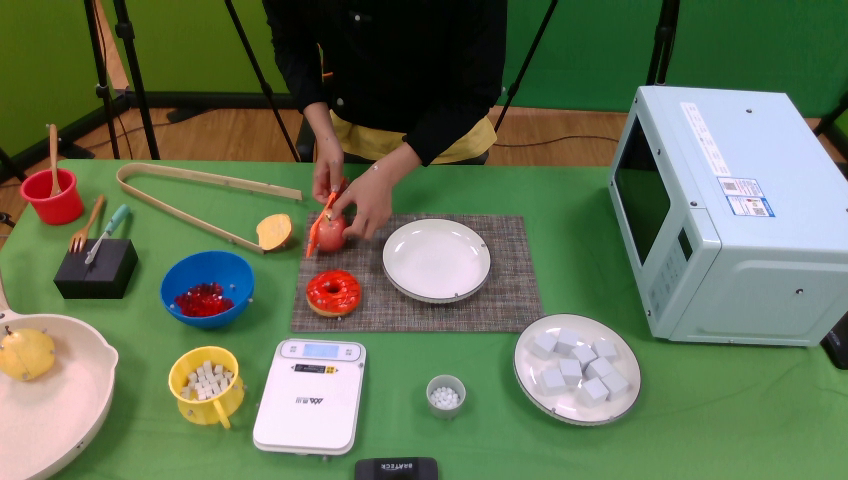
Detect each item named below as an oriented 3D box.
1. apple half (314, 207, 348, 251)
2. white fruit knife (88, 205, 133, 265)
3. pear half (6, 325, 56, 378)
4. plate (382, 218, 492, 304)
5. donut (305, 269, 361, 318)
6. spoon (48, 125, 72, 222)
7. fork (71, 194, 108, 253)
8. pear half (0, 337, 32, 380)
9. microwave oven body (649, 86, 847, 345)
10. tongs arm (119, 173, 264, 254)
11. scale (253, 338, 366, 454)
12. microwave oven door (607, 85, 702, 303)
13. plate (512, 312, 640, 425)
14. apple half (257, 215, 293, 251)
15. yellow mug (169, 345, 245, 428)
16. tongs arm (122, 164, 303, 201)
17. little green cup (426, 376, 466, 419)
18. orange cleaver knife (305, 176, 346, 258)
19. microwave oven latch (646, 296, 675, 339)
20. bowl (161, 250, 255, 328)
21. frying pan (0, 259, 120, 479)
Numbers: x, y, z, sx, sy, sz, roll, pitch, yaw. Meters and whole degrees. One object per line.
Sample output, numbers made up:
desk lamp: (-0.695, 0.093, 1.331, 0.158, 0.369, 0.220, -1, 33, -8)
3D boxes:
apple half: (-0.174, -0.015, 1.161, 0.053, 0.075, 0.080, 15, 42, 0)
white fruit knife: (-0.584, -0.013, 1.129, 0.016, 0.027, 0.206, -1, 32, -4)
pear half: (-0.608, 0.158, 0.935, 0.076, 0.110, 0.056, 31, 51, 20)
plate: (0.023, 0.042, 1.143, 0.209, 0.038, 0.208, 2, 46, -2)
donut: (-0.160, 0.094, 1.075, 0.099, 0.048, 0.098, 4, 45, -3)
spoon: (-0.718, -0.131, 1.189, 0.041, 0.021, 0.193, -3, 90, -7)
fork: (-0.634, -0.036, 1.158, 0.028, 0.019, 0.206, -8, 31, -8)
pear half: (-0.631, 0.184, 0.921, 0.070, 0.088, 0.031, 29, 49, 19)
microwave oven body: (0.567, -0.053, 1.118, 0.326, 0.261, 0.439, 2, 45, -1)
tongs arm: (-0.474, -0.054, 1.213, 0.386, 0.028, 0.028, 23, 56, 18)
scale: (-0.175, 0.236, 0.951, 0.149, 0.032, 0.199, 4, 45, -1)
microwave oven door: (0.423, -0.094, 1.140, 0.039, 0.245, 0.353, 2, 46, -1)
plate: (0.246, 0.213, 0.999, 0.208, 0.039, 0.206, 2, 46, -2)
apple half: (-0.283, -0.010, 1.177, 0.081, 0.033, 0.081, -8, 60, 14)
yellow mug: (-0.322, 0.230, 0.922, 0.100, 0.064, 0.130, -24, 53, -25)
tongs arm: (-0.444, -0.113, 1.268, 0.384, 0.026, 0.050, 12, 50, 8)
little green cup: (0.033, 0.248, 0.950, 0.061, 0.039, 0.061, 2, 46, -2)
orange cleaver knife: (-0.192, -0.048, 1.188, 0.012, 0.077, 0.210, 19, 41, 0)
microwave oven latch: (0.412, 0.134, 1.061, 0.030, 0.029, 0.078, 4, 45, 1)
bowl: (-0.362, 0.098, 1.039, 0.151, 0.077, 0.150, 2, 45, -2)
frying pan: (-0.647, 0.164, 0.936, 0.307, 0.103, 0.485, -19, 58, -22)
